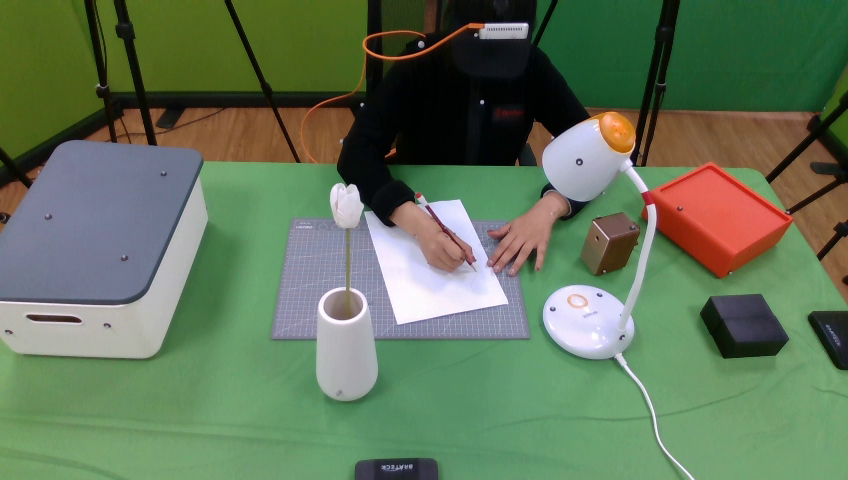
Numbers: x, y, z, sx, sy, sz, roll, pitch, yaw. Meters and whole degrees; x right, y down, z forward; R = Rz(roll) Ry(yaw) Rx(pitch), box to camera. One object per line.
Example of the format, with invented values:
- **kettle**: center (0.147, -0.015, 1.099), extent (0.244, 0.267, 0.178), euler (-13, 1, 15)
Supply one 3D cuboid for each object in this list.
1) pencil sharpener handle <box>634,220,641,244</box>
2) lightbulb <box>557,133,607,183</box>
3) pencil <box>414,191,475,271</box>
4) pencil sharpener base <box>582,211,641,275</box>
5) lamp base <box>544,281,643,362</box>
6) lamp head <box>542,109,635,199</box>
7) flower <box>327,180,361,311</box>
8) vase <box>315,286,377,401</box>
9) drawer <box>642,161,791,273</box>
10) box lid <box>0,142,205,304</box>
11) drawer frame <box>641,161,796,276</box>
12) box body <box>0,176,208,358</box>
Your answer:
- **pencil sharpener handle**: center (0.405, -0.015, 1.162), extent (0.031, 0.068, 0.035), euler (-15, 46, -17)
- **lightbulb**: center (0.243, -0.127, 0.917), extent (0.059, 0.108, 0.059), euler (6, 67, -13)
- **pencil**: center (0.041, -0.014, 1.127), extent (0.012, 0.195, 0.012), euler (-34, 18, 12)
- **pencil sharpener base**: center (0.357, 0.005, 1.156), extent (0.077, 0.107, 0.061), euler (-15, 48, -17)
- **lamp base**: center (0.304, 0.095, 1.014), extent (0.161, 0.181, 0.178), euler (-24, 54, -24)
- **lamp head**: center (0.253, -0.131, 0.893), extent (0.113, 0.123, 0.112), euler (10, 66, -24)
- **flower**: center (-0.111, 0.086, 0.867), extent (0.044, 0.363, 0.038), euler (22, 33, 36)
- **vase**: center (-0.119, 0.159, 0.911), extent (0.098, 0.201, 0.097), euler (2, 47, -2)
- **drawer**: center (0.596, -0.052, 1.245), extent (0.194, 0.073, 0.210), euler (-23, 52, -25)
- **box lid**: center (-0.534, -0.044, 0.995), extent (0.263, 0.015, 0.369), euler (3, 45, -3)
- **drawer frame**: center (0.599, -0.051, 1.244), extent (0.202, 0.083, 0.212), euler (-24, 53, -25)
- **box body**: center (-0.546, 0.017, 1.045), extent (0.254, 0.161, 0.361), euler (2, 46, -2)
